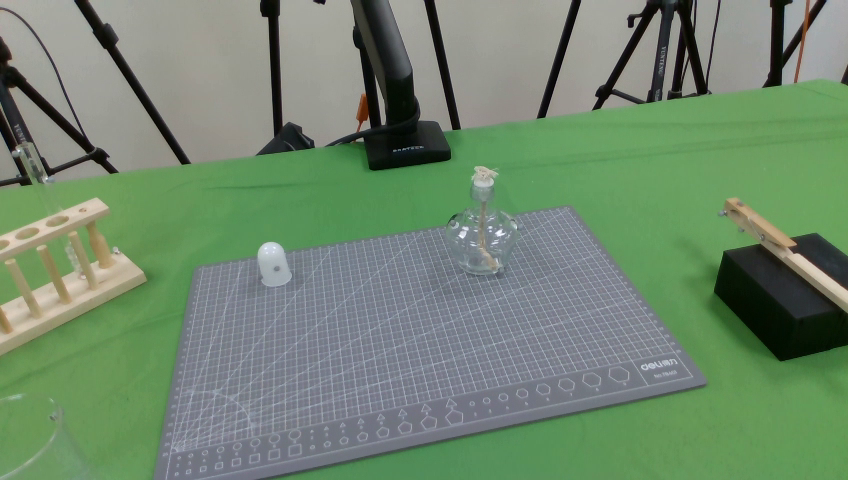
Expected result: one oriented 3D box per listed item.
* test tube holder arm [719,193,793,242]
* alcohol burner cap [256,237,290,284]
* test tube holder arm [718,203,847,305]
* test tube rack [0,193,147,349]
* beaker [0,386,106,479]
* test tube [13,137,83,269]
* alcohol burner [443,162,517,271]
[{"bbox_3d":[0.320,-0.020,0.586,0.015,0.010,0.087,-10,36,-10],"label":"test tube holder arm"},{"bbox_3d":[-0.164,0.020,0.647,0.034,0.048,0.033,-3,35,2],"label":"alcohol burner cap"},{"bbox_3d":[0.331,0.009,0.553,0.015,0.013,0.176,-10,35,-10],"label":"test tube holder arm"},{"bbox_3d":[-0.418,0.048,0.601,0.066,0.086,0.242,28,46,36],"label":"test tube rack"},{"bbox_3d":[-0.270,0.162,0.412,0.084,0.101,0.073,-5,35,0],"label":"beaker"},{"bbox_3d":[-0.382,-0.034,0.625,0.017,0.151,0.017,-5,31,3],"label":"test tube"},{"bbox_3d":[0.059,-0.028,0.629,0.078,0.120,0.077,-1,35,1],"label":"alcohol burner"}]
